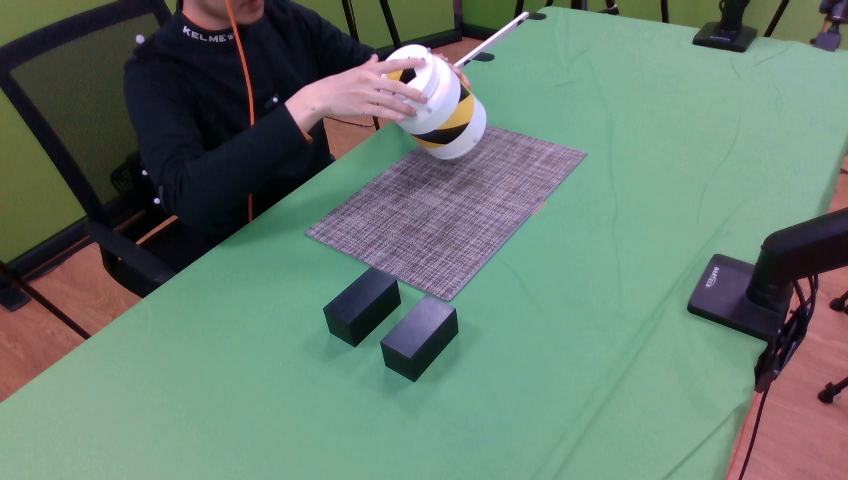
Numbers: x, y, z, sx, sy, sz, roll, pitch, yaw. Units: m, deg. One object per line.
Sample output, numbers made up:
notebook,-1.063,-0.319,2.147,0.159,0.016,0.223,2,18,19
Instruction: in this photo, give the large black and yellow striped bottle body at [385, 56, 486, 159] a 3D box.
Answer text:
large black and yellow striped bottle body,0.013,-0.237,1.056,0.130,0.185,0.130,-13,63,28

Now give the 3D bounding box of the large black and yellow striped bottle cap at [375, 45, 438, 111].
large black and yellow striped bottle cap,-0.030,-0.265,0.989,0.114,0.019,0.114,-13,62,28
